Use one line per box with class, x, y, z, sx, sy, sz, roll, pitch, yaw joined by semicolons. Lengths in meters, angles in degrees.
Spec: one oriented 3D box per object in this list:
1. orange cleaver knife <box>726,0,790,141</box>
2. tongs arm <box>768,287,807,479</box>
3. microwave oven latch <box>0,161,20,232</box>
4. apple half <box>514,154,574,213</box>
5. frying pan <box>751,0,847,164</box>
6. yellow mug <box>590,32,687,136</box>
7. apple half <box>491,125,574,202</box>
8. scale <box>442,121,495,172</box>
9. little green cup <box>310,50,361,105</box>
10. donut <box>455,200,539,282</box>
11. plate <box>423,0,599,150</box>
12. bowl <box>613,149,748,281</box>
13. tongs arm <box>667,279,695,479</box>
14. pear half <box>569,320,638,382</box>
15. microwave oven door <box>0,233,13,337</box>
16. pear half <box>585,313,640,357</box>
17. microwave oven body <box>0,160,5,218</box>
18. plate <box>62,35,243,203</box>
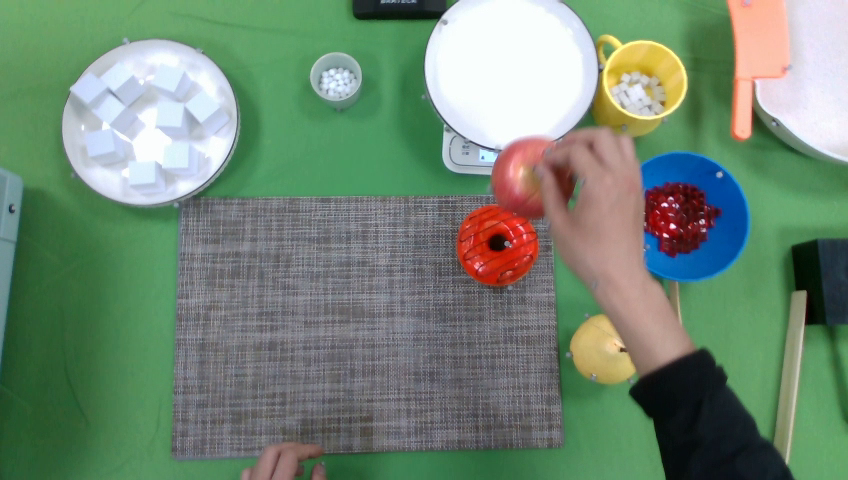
orange cleaver knife;0.392;-0.219;0.714;0.077;0.012;0.210;4;82;2
tongs arm;0.405;0.242;0.702;0.028;0.028;0.386;15;82;-7
microwave oven latch;-0.487;-0.050;0.693;0.030;0.029;0.079;4;82;-2
apple half;0.124;-0.050;0.595;0.032;0.081;0.081;42;82;9
frying pan;0.575;-0.138;0.725;0.307;0.103;0.485;-27;75;-5
yellow mug;0.250;-0.199;0.743;0.100;0.064;0.130;-33;83;-5
apple half;0.097;-0.081;0.590;0.081;0.074;0.053;-42;91;2
scale;0.101;-0.184;0.754;0.149;0.031;0.200;4;82;-1
little green cup;-0.107;-0.198;0.746;0.061;0.039;0.061;0;81;-1
donut;0.085;0.001;0.716;0.099;0.048;0.098;0;82;0
plate;0.102;-0.203;0.723;0.209;0.038;0.208;0;81;-2
bowl;0.288;-0.023;0.713;0.151;0.077;0.151;0;82;-2
tongs arm;0.319;0.235;0.697;0.051;0.026;0.383;0;83;-6
pear half;0.198;0.129;0.671;0.076;0.110;0.056;31;82;7
microwave oven door;-0.494;0.150;0.560;0.039;0.244;0.354;2;81;-1
pear half;0.218;0.102;0.686;0.070;0.088;0.031;29;82;6
microwave oven body;-0.638;0.104;0.567;0.326;0.260;0.440;2;82;-2
plate;-0.321;-0.143;0.731;0.208;0.039;0.207;0;81;-2
